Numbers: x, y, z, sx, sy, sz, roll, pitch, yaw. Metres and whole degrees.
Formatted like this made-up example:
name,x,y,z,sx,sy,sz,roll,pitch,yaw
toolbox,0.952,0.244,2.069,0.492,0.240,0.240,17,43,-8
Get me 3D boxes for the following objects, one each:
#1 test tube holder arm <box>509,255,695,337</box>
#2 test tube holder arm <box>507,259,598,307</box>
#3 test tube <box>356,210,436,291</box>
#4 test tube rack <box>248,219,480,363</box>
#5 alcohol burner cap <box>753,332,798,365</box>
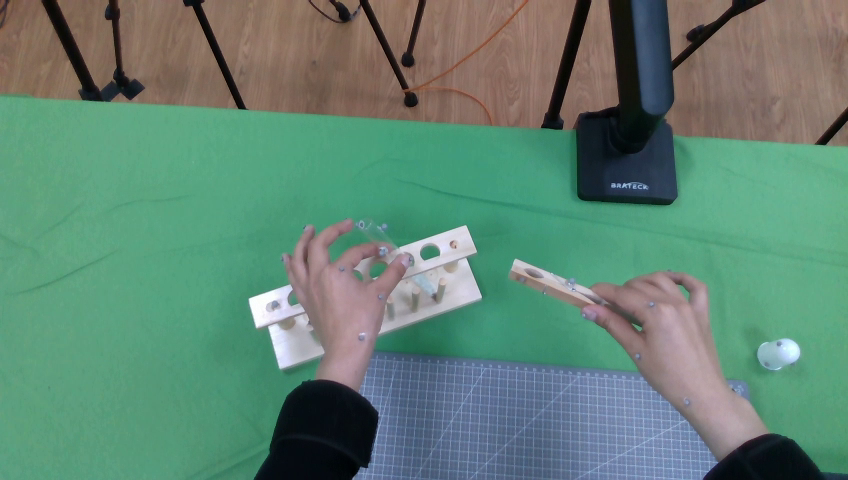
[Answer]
name,x,y,z,sx,sy,sz,roll,pitch,yaw
test tube holder arm,0.164,0.052,0.563,0.178,0.015,0.013,20,59,5
test tube holder arm,0.120,0.040,0.564,0.087,0.015,0.010,21,59,6
test tube,-0.026,0.015,0.642,0.017,0.152,0.017,-16,51,22
test tube rack,-0.059,0.058,0.671,0.242,0.086,0.066,-19,71,-7
alcohol burner cap,0.397,0.120,0.679,0.034,0.048,0.033,0,69,-1
